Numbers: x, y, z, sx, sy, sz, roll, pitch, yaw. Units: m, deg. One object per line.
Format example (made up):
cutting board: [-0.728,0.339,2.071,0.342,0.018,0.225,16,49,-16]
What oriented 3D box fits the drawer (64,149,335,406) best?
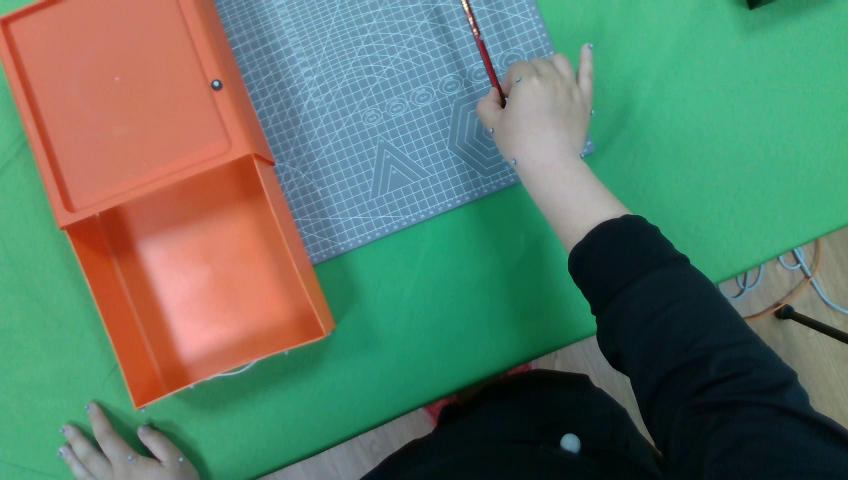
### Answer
drawer: [-0.218,0.027,0.596,0.194,0.073,0.211,-21,91,2]

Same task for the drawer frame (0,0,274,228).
drawer frame: [-0.283,-0.141,0.595,0.201,0.083,0.213,-22,88,3]

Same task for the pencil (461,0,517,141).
pencil: [0.056,-0.186,0.583,0.012,0.012,0.194,-21,93,2]
